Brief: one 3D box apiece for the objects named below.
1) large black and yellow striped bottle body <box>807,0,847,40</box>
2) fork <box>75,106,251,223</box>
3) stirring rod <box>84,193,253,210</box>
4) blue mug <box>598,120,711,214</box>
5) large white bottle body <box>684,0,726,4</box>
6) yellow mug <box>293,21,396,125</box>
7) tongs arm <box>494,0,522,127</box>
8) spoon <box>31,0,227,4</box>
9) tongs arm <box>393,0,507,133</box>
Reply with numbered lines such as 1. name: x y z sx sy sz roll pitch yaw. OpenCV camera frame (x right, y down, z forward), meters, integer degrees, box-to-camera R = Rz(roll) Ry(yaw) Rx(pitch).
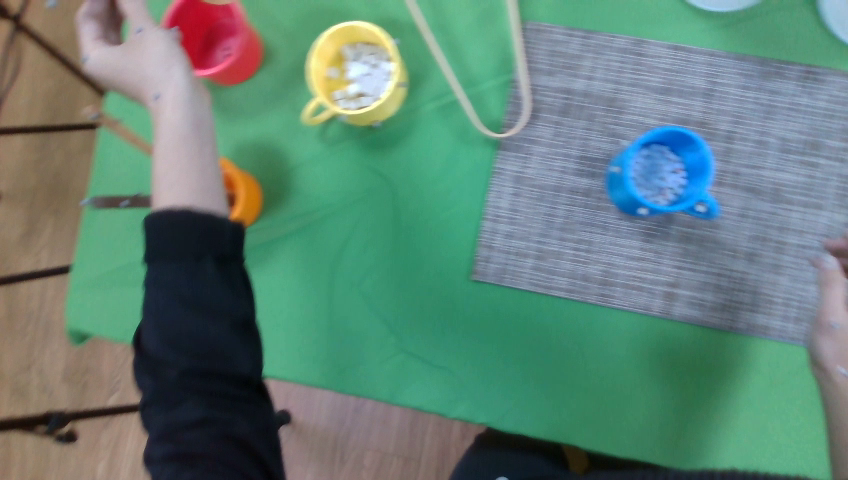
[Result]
1. large black and yellow striped bottle body: 0.469 -0.277 0.570 0.130 0.184 0.130 0 90 6
2. fork: -0.279 -0.079 0.663 0.028 0.018 0.209 -51 129 2
3. stirring rod: -0.276 -0.043 0.670 0.177 0.006 0.014 -5 83 -35
4. blue mug: 0.245 -0.064 0.631 0.116 0.106 0.082 36 94 4
5. large white bottle body: 0.304 -0.325 0.585 0.130 0.185 0.130 0 90 6
6. yellow mug: -0.098 -0.177 0.687 0.131 0.064 0.100 -42 87 6
7. tongs arm: 0.059 -0.317 0.666 0.028 0.027 0.388 -15 96 -2
8. spoon: -0.249 -0.225 0.536 0.021 0.194 0.042 -1 111 36
9. tongs arm: -0.019 -0.284 0.672 0.051 0.026 0.385 -28 95 2
